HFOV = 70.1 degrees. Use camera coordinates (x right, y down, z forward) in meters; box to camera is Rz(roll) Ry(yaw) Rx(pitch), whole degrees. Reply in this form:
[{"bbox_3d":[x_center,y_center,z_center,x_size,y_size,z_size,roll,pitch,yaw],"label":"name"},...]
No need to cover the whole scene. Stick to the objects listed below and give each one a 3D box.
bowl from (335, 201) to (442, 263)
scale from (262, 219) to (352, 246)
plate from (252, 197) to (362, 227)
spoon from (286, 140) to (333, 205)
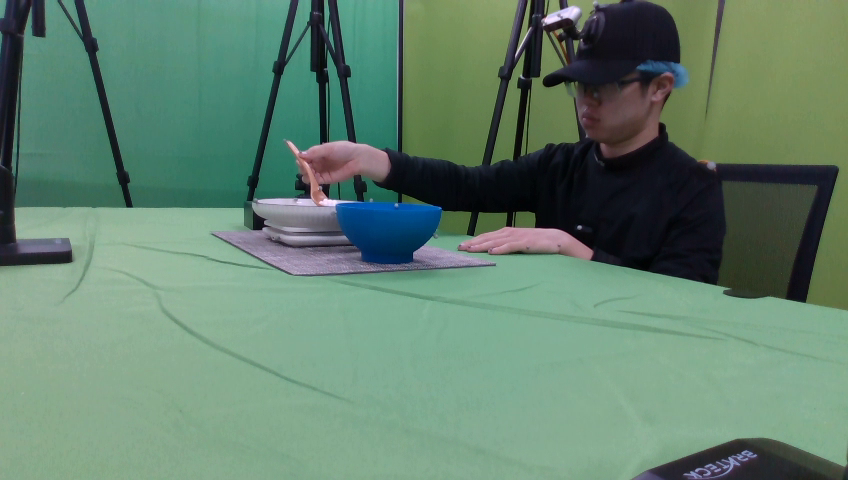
[{"bbox_3d":[-0.051,-0.012,0.849,0.151,0.077,0.151,2,7,0],"label":"bowl"},{"bbox_3d":[-0.160,-0.015,1.027,0.202,0.031,0.148,-2,8,-32],"label":"scale"},{"bbox_3d":[-0.178,-0.047,1.012,0.209,0.038,0.209,2,6,0],"label":"plate"},{"bbox_3d":[-0.203,-0.117,1.061,0.042,0.021,0.193,8,42,-46],"label":"spoon"}]
